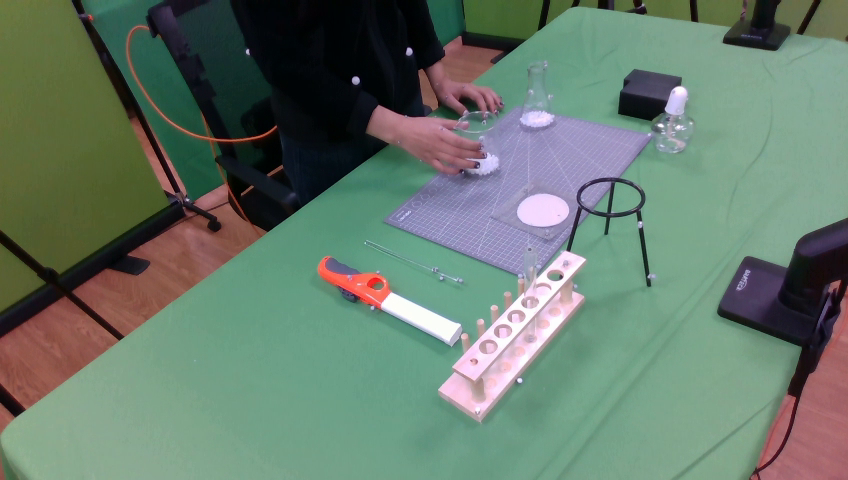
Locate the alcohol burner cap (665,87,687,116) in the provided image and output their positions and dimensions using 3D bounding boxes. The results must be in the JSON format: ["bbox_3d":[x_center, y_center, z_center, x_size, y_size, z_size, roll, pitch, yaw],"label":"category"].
[{"bbox_3d":[0.445,-0.244,1.060,0.034,0.048,0.033,-2,45,3],"label":"alcohol burner cap"}]

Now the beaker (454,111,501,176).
[{"bbox_3d":[0.101,-0.174,1.106,0.084,0.101,0.073,-5,40,6],"label":"beaker"}]

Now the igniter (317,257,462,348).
[{"bbox_3d":[-0.061,0.086,0.891,0.274,0.025,0.057,23,59,33],"label":"igniter"}]

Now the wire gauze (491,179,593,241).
[{"bbox_3d":[0.198,-0.051,1.014,0.125,0.011,0.120,-38,48,-27],"label":"wire gauze"}]

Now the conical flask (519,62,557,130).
[{"bbox_3d":[0.225,-0.287,1.198,0.075,0.122,0.075,-6,40,5],"label":"conical flask"}]

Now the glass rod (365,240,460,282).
[{"bbox_3d":[-0.022,0.032,0.961,0.198,0.008,0.008,21,49,34],"label":"glass rod"}]

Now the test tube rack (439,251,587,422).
[{"bbox_3d":[0.118,0.111,0.780,0.066,0.085,0.243,26,51,34],"label":"test tube rack"}]

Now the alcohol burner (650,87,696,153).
[{"bbox_3d":[0.448,-0.217,1.084,0.078,0.119,0.077,-6,38,5],"label":"alcohol burner"}]

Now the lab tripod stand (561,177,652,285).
[{"bbox_3d":[0.263,-0.014,0.864,0.148,0.132,0.147,-7,38,6],"label":"lab tripod stand"}]

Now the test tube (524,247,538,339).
[{"bbox_3d":[0.133,0.070,0.749,0.017,0.151,0.017,-5,38,4],"label":"test tube"}]
